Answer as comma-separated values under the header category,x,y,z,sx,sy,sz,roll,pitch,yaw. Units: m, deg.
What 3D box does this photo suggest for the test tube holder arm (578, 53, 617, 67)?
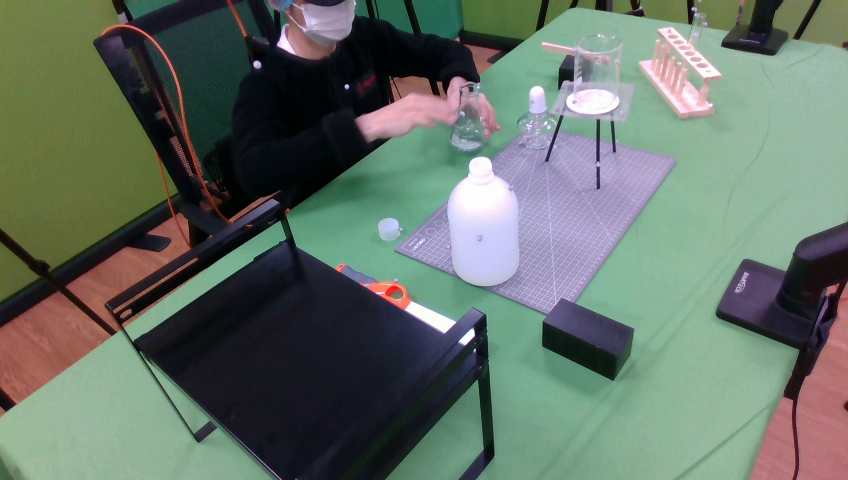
category,x,y,z,sx,sy,sz,roll,pitch,yaw
test tube holder arm,0.376,-0.393,1.314,0.087,0.015,0.010,26,51,32

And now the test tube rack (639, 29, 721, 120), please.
category,x,y,z,sx,sy,sz,roll,pitch,yaw
test tube rack,0.527,-0.351,1.262,0.067,0.085,0.241,-8,40,1

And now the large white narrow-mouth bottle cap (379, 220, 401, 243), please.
category,x,y,z,sx,sy,sz,roll,pitch,yaw
large white narrow-mouth bottle cap,-0.057,-0.015,1.011,0.038,0.024,0.037,-4,40,4

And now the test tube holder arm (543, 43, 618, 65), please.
category,x,y,z,sx,sy,sz,roll,pitch,yaw
test tube holder arm,0.345,-0.413,1.341,0.177,0.015,0.013,25,50,31

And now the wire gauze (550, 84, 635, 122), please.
category,x,y,z,sx,sy,sz,roll,pitch,yaw
wire gauze,0.285,-0.234,1.021,0.124,0.011,0.121,8,41,23

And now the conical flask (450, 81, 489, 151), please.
category,x,y,z,sx,sy,sz,roll,pitch,yaw
conical flask,0.087,-0.233,1.126,0.075,0.122,0.075,0,47,1

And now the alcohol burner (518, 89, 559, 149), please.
category,x,y,z,sx,sy,sz,roll,pitch,yaw
alcohol burner,0.218,-0.235,1.149,0.078,0.119,0.077,-5,43,5

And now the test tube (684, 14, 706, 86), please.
category,x,y,z,sx,sy,sz,roll,pitch,yaw
test tube,0.540,-0.378,1.215,0.017,0.151,0.017,-2,44,3

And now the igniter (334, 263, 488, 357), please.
category,x,y,z,sx,sy,sz,roll,pitch,yaw
igniter,-0.030,0.095,0.872,0.274,0.025,0.057,23,60,31

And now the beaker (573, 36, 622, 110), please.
category,x,y,z,sx,sy,sz,roll,pitch,yaw
beaker,0.283,-0.273,0.990,0.073,0.101,0.084,16,46,28

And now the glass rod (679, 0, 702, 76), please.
category,x,y,z,sx,sy,sz,roll,pitch,yaw
glass rod,0.543,-0.417,1.233,0.008,0.200,0.008,1,39,0

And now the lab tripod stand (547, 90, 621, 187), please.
category,x,y,z,sx,sy,sz,roll,pitch,yaw
lab tripod stand,0.289,-0.184,1.062,0.148,0.132,0.147,-6,41,6

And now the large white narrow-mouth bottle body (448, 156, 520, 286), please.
category,x,y,z,sx,sy,sz,roll,pitch,yaw
large white narrow-mouth bottle body,0.086,-0.032,0.869,0.102,0.195,0.101,-4,40,4

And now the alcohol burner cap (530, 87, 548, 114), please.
category,x,y,z,sx,sy,sz,roll,pitch,yaw
alcohol burner cap,0.212,-0.262,1.126,0.034,0.048,0.033,-9,36,7
